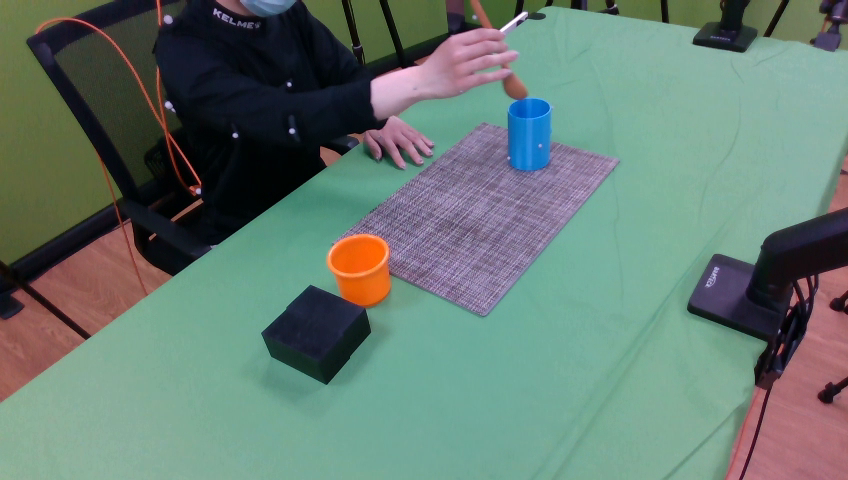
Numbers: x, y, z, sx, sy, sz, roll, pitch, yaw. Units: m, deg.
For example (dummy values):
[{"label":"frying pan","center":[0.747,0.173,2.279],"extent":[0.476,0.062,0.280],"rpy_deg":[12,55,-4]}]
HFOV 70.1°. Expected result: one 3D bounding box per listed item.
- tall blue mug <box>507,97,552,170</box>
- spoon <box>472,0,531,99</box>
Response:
[{"label":"tall blue mug","center":[0.179,-0.198,1.101],"extent":[0.078,0.108,0.106],"rpy_deg":[-36,49,-28]},{"label":"spoon","center":[0.124,-0.306,0.986],"extent":[0.041,0.195,0.021],"rpy_deg":[-2,43,42]}]
